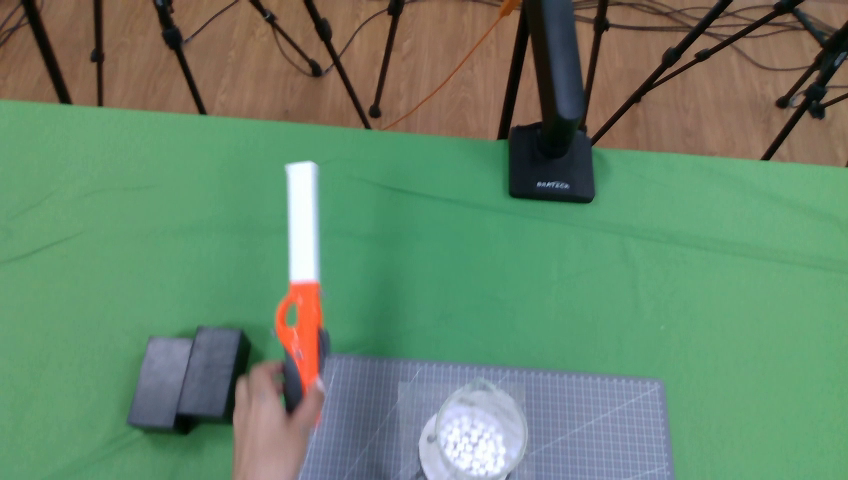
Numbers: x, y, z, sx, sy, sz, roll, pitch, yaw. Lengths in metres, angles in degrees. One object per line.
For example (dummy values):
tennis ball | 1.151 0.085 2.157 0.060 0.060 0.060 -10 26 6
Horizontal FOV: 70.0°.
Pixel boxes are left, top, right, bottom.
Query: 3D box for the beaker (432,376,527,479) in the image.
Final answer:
beaker | 0.043 0.171 0.524 0.074 0.101 0.083 1 61 -2

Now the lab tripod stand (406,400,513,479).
lab tripod stand | 0.035 0.223 0.625 0.148 0.132 0.147 1 62 -1

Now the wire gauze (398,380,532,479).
wire gauze | 0.037 0.191 0.567 0.125 0.011 0.120 0 61 -1

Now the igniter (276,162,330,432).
igniter | -0.125 0.055 0.623 0.057 0.025 0.275 -5 79 15
